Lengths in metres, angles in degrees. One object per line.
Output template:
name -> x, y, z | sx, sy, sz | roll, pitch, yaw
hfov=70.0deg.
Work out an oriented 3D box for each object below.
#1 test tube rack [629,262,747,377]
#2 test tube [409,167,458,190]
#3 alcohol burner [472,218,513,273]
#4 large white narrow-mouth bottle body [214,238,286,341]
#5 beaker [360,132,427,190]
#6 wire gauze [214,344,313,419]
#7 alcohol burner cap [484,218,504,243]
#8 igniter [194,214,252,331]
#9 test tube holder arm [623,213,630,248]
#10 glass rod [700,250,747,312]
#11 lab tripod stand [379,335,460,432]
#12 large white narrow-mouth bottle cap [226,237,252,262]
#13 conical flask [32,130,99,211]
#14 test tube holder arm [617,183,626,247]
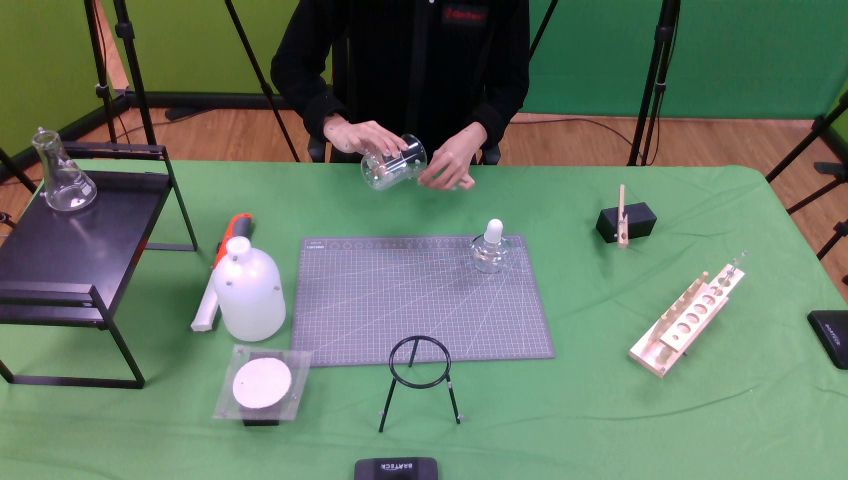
test tube rack -> 0.464, 0.126, 1.060 | 0.242, 0.085, 0.066 | -34, 56, -31
test tube -> 0.022, -0.118, 1.180 | 0.151, 0.017, 0.017 | 12, 28, -52
alcohol burner -> 0.128, 0.005, 1.132 | 0.078, 0.120, 0.077 | 0, 47, 0
large white narrow-mouth bottle body -> -0.285, 0.073, 0.986 | 0.102, 0.195, 0.101 | 2, 46, -2
beaker -> -0.056, -0.136, 1.073 | 0.100, 0.084, 0.073 | -31, 54, -32
wire gauze -> -0.241, 0.213, 0.916 | 0.121, 0.011, 0.124 | 5, 46, 1
alcohol burner cap -> 0.130, -0.021, 1.106 | 0.034, 0.048, 0.033 | 3, 51, -4
igniter -> -0.367, 0.050, 1.119 | 0.057, 0.025, 0.275 | -4, 46, 7
test tube holder arm -> 0.392, -0.020, 1.180 | 0.010, 0.015, 0.087 | 15, 47, -1
glass rod -> 0.500, 0.075, 1.021 | 0.008, 0.201, 0.008 | 0, 54, 1
lab tripod stand -> -0.010, 0.214, 0.911 | 0.148, 0.132, 0.147 | 1, 45, 0
large white narrow-mouth bottle cap -> -0.282, 0.014, 0.923 | 0.038, 0.024, 0.037 | 2, 46, -2
conical flask -> -0.565, -0.110, 0.944 | 0.075, 0.122, 0.075 | 2, 46, -2
test tube holder arm -> 0.395, -0.053, 1.210 | 0.013, 0.015, 0.177 | 15, 47, -1
